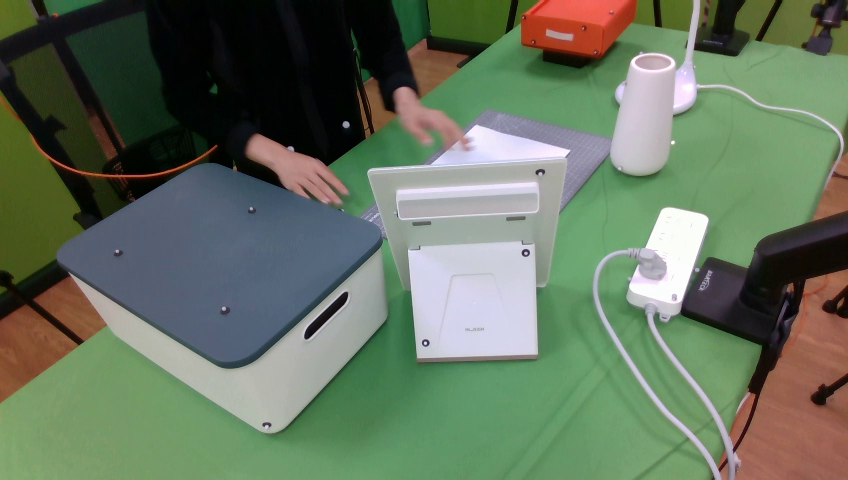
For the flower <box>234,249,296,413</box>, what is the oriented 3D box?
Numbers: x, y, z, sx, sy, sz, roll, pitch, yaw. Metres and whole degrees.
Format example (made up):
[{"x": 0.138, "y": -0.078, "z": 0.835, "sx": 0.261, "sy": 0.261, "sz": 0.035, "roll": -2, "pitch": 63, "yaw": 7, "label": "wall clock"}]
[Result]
[{"x": -0.244, "y": 0.109, "z": 0.869, "sx": 0.044, "sy": 0.038, "sz": 0.358, "roll": 10, "pitch": 27, "yaw": -32, "label": "flower"}]

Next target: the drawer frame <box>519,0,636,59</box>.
[{"x": 0.362, "y": -0.518, "z": 1.423, "sx": 0.200, "sy": 0.083, "sz": 0.214, "roll": 19, "pitch": 48, "yaw": 29, "label": "drawer frame"}]

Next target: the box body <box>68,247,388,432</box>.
[{"x": -0.256, "y": 0.065, "z": 0.826, "sx": 0.361, "sy": 0.161, "sz": 0.255, "roll": 20, "pitch": 48, "yaw": 29, "label": "box body"}]

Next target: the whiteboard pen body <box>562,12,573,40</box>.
[{"x": 0.340, "y": -0.506, "z": 1.430, "sx": 0.017, "sy": 0.017, "sz": 0.140, "roll": -1, "pitch": 44, "yaw": 6, "label": "whiteboard pen body"}]

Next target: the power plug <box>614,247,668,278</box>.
[{"x": 0.306, "y": 0.031, "z": 0.851, "sx": 0.072, "sy": 0.053, "sz": 0.035, "roll": 24, "pitch": 49, "yaw": 33, "label": "power plug"}]

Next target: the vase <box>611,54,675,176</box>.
[{"x": 0.377, "y": -0.209, "z": 1.031, "sx": 0.098, "sy": 0.201, "sz": 0.097, "roll": -3, "pitch": 40, "yaw": 3, "label": "vase"}]

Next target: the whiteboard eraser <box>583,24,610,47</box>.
[{"x": 0.407, "y": -0.479, "z": 1.423, "sx": 0.055, "sy": 0.042, "sz": 0.113, "roll": -3, "pitch": 10, "yaw": 20, "label": "whiteboard eraser"}]

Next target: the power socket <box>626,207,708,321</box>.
[{"x": 0.359, "y": 0.025, "z": 0.886, "sx": 0.072, "sy": 0.033, "sz": 0.227, "roll": 16, "pitch": 46, "yaw": 26, "label": "power socket"}]

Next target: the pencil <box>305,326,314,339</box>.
[{"x": -0.187, "y": 0.106, "z": 0.880, "sx": 0.012, "sy": 0.012, "sz": 0.192, "roll": -27, "pitch": 41, "yaw": -22, "label": "pencil"}]

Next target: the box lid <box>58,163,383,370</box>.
[{"x": -0.262, "y": 0.010, "z": 0.777, "sx": 0.369, "sy": 0.015, "sz": 0.264, "roll": 21, "pitch": 47, "yaw": 29, "label": "box lid"}]

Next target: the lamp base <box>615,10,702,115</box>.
[{"x": 0.484, "y": -0.364, "z": 1.211, "sx": 0.180, "sy": 0.181, "sz": 0.159, "roll": -15, "pitch": 41, "yaw": -14, "label": "lamp base"}]

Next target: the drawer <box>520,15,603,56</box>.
[{"x": 0.359, "y": -0.517, "z": 1.416, "sx": 0.193, "sy": 0.073, "sz": 0.212, "roll": 20, "pitch": 47, "yaw": 29, "label": "drawer"}]

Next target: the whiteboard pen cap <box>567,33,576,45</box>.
[{"x": 0.339, "y": -0.463, "z": 1.390, "sx": 0.018, "sy": 0.018, "sz": 0.033, "roll": -2, "pitch": 44, "yaw": 5, "label": "whiteboard pen cap"}]

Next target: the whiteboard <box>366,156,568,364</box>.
[{"x": 0.059, "y": 0.050, "z": 0.738, "sx": 0.217, "sy": 0.307, "sz": 0.143, "roll": -2, "pitch": 60, "yaw": 6, "label": "whiteboard"}]
